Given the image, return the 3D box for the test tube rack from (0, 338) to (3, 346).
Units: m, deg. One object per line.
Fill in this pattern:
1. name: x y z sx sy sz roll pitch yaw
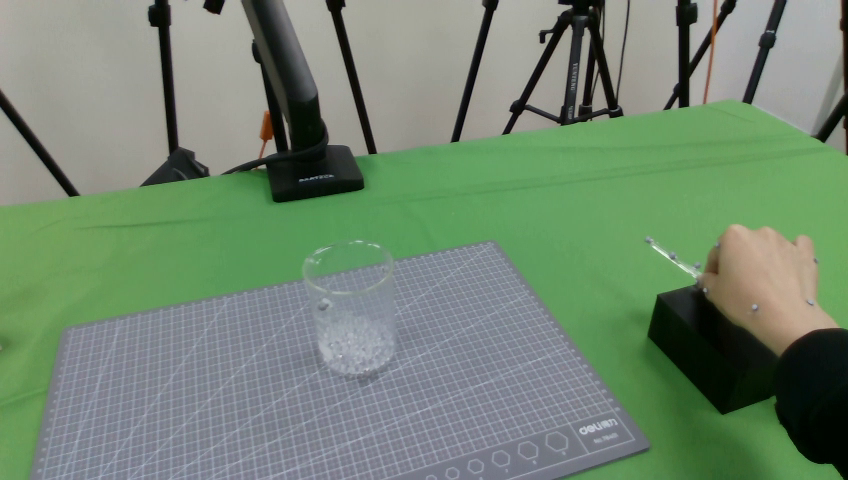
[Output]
1. test tube rack: -0.489 0.106 0.475 0.066 0.086 0.242 24 42 30

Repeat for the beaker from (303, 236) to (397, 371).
1. beaker: -0.063 0.056 0.523 0.083 0.101 0.074 19 40 27

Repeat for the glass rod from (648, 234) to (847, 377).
1. glass rod: 0.267 0.048 0.518 0.008 0.008 0.197 -19 42 -24
